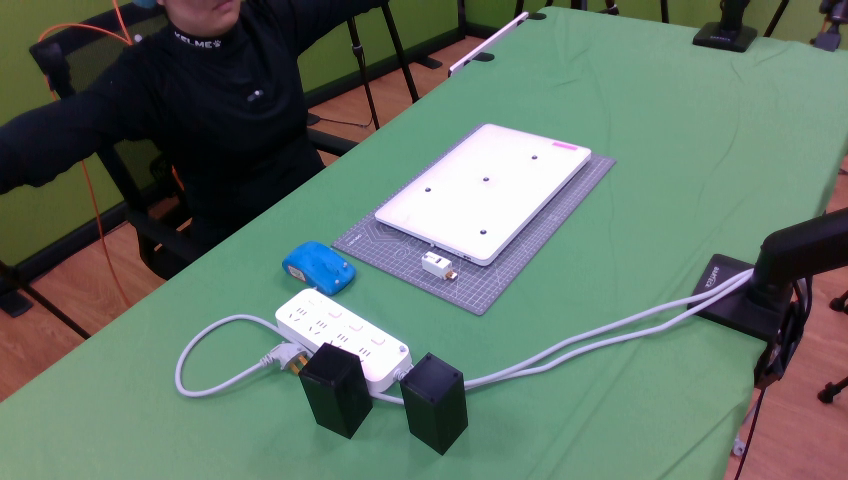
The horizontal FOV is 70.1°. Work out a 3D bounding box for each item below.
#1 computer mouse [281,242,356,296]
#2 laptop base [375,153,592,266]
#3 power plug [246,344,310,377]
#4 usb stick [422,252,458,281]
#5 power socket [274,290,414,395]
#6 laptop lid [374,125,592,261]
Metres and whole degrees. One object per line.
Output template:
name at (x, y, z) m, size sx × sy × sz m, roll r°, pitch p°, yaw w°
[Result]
computer mouse at (-0.164, 0.041, 0.934) m, size 0.116 × 0.041 × 0.063 m, roll 27°, pitch 48°, yaw 28°
laptop base at (0.112, -0.091, 1.063) m, size 0.233 × 0.023 × 0.355 m, roll 21°, pitch 47°, yaw 34°
power plug at (-0.188, 0.168, 0.797) m, size 0.072 × 0.035 × 0.052 m, roll -41°, pitch 69°, yaw -6°
usb stick at (0.025, 0.042, 0.908) m, size 0.058 × 0.027 × 0.021 m, roll 27°, pitch 49°, yaw 32°
power socket at (-0.114, 0.134, 0.820) m, size 0.225 × 0.033 × 0.072 m, roll 25°, pitch 49°, yaw 33°
laptop lid at (0.109, -0.101, 1.057) m, size 0.239 × 0.013 × 0.358 m, roll 23°, pitch 48°, yaw 34°
